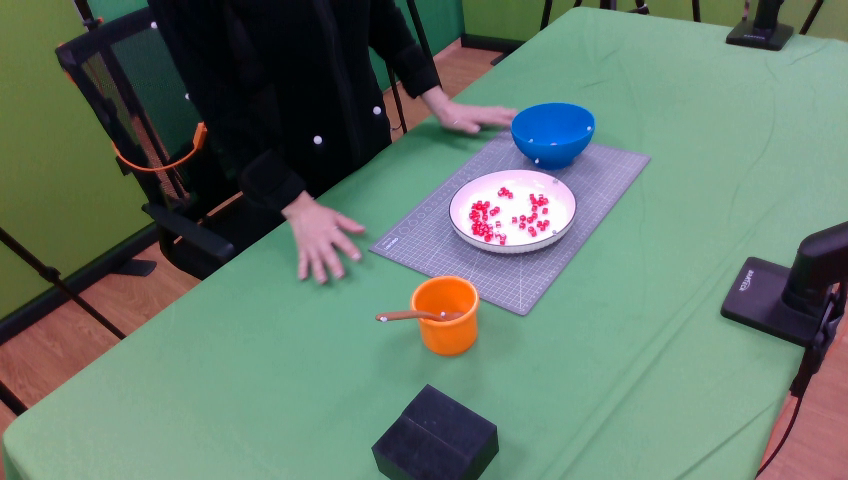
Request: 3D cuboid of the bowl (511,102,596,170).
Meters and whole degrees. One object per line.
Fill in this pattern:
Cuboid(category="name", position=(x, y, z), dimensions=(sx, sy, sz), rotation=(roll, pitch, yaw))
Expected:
Cuboid(category="bowl", position=(0.236, -0.182, 1.107), dimensions=(0.151, 0.077, 0.150), rotation=(-6, 40, 5))

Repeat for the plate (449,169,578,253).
Cuboid(category="plate", position=(0.146, -0.044, 0.993), dimensions=(0.209, 0.038, 0.208), rotation=(-5, 40, 5))

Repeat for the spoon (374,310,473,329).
Cuboid(category="spoon", position=(0.002, 0.099, 0.771), dimensions=(0.041, 0.195, 0.021), rotation=(26, 96, 37))
